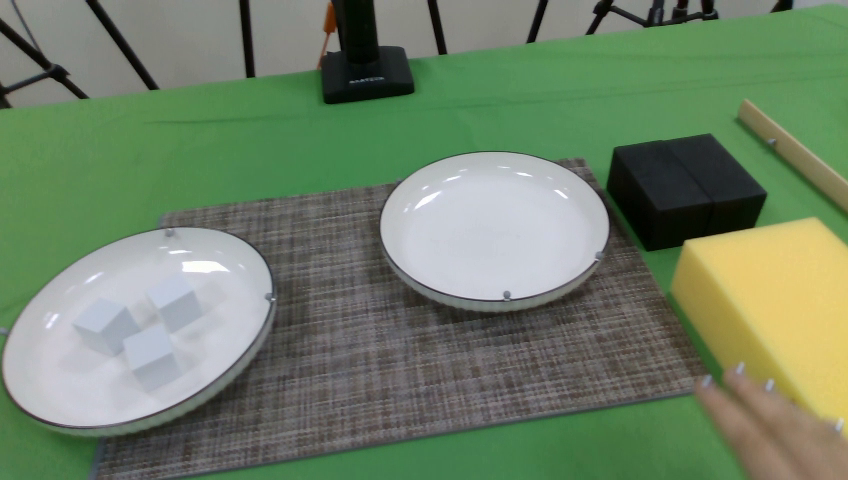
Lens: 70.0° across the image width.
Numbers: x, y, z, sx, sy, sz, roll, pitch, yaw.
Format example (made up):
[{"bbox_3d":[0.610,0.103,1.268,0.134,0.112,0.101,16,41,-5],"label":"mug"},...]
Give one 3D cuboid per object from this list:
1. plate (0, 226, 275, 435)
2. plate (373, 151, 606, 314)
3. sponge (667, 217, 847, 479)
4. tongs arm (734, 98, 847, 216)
[{"bbox_3d":[-0.224,0.070,0.495,0.209,0.038,0.207,-2,43,2],"label":"plate"},{"bbox_3d":[0.059,-0.007,0.558,0.207,0.039,0.205,-2,43,2],"label":"plate"},{"bbox_3d":[0.285,0.079,0.438,0.118,0.061,0.204,-11,44,-7],"label":"sponge"},{"bbox_3d":[0.417,-0.030,0.569,0.028,0.028,0.383,-11,44,-11],"label":"tongs arm"}]
